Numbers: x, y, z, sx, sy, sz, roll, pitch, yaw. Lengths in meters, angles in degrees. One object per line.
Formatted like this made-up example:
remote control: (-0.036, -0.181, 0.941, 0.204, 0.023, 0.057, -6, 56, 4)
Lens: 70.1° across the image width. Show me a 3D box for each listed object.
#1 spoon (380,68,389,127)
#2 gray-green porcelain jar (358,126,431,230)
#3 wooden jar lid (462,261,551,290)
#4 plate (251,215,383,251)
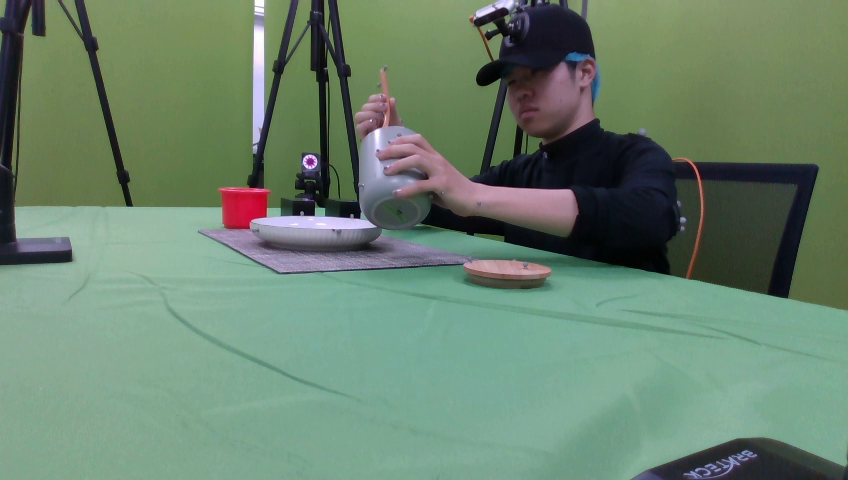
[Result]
spoon: (-0.064, -0.205, 0.985, 0.022, 0.193, 0.041, 13, -33, -22)
gray-green porcelain jar: (-0.045, -0.086, 0.888, 0.106, 0.106, 0.126, 2, 51, -9)
wooden jar lid: (0.100, 0.043, 0.742, 0.108, 0.020, 0.108, 2, 6, 0)
plate: (-0.170, -0.012, 0.971, 0.208, 0.039, 0.207, 3, 7, 0)
